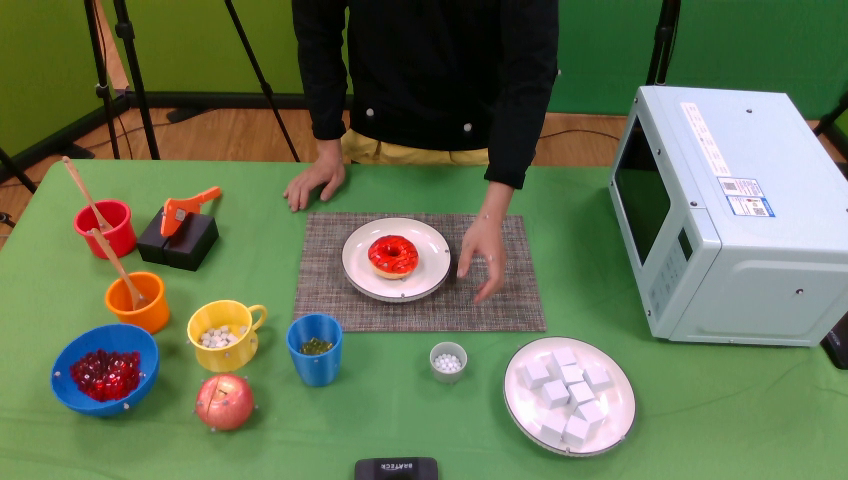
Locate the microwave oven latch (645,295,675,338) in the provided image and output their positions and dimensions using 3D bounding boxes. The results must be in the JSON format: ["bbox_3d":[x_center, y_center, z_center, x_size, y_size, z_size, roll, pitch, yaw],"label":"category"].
[{"bbox_3d":[0.411,0.134,1.061,0.030,0.029,0.078,3,45,0],"label":"microwave oven latch"}]

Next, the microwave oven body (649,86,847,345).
[{"bbox_3d":[0.568,-0.053,1.118,0.326,0.261,0.439,2,45,-1],"label":"microwave oven body"}]

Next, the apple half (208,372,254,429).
[{"bbox_3d":[-0.283,0.244,0.908,0.053,0.075,0.080,7,42,-1],"label":"apple half"}]

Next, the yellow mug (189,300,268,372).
[{"bbox_3d":[-0.315,0.149,1.001,0.131,0.064,0.099,-33,55,-31],"label":"yellow mug"}]

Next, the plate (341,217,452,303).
[{"bbox_3d":[-0.052,0.039,1.140,0.209,0.038,0.208,3,46,-2],"label":"plate"}]

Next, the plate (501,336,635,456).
[{"bbox_3d":[0.225,0.248,0.963,0.208,0.039,0.206,2,46,-2],"label":"plate"}]

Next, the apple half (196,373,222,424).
[{"bbox_3d":[-0.322,0.240,0.906,0.033,0.081,0.081,7,46,0],"label":"apple half"}]

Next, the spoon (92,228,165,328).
[{"bbox_3d":[-0.496,0.063,1.014,0.041,0.194,0.021,-33,13,-30],"label":"spoon"}]

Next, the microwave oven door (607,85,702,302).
[{"bbox_3d":[0.423,-0.094,1.141,0.039,0.245,0.353,2,46,-1],"label":"microwave oven door"}]

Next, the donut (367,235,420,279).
[{"bbox_3d":[-0.057,0.032,1.131,0.099,0.048,0.098,3,45,-3],"label":"donut"}]

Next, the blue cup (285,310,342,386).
[{"bbox_3d":[-0.170,0.179,0.958,0.093,0.101,0.092,2,44,-1],"label":"blue cup"}]

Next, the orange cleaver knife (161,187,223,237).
[{"bbox_3d":[-0.448,-0.058,1.180,0.012,0.077,0.211,13,17,6],"label":"orange cleaver knife"}]

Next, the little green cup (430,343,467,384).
[{"bbox_3d":[0.039,0.203,0.993,0.061,0.039,0.061,2,46,-2],"label":"little green cup"}]

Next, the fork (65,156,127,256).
[{"bbox_3d":[-0.614,-0.064,1.130,0.028,0.018,0.207,-29,96,-16],"label":"fork"}]

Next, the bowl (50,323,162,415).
[{"bbox_3d":[-0.472,0.209,0.924,0.151,0.077,0.150,3,45,-2],"label":"bowl"}]
